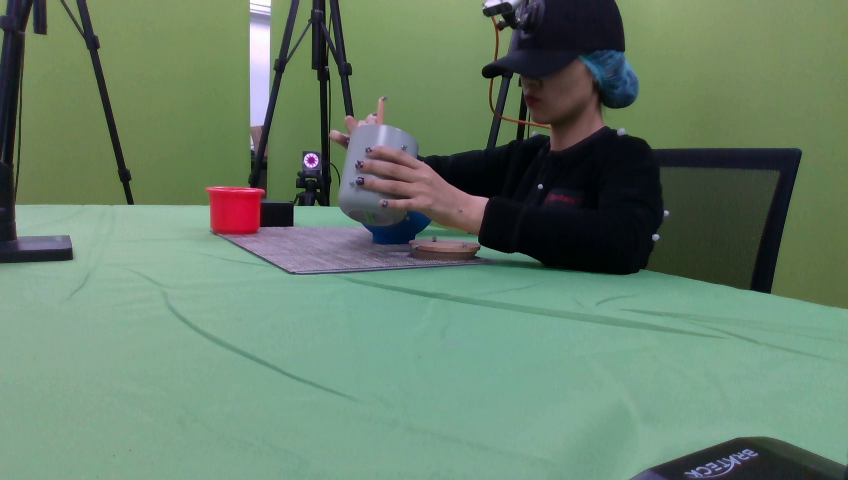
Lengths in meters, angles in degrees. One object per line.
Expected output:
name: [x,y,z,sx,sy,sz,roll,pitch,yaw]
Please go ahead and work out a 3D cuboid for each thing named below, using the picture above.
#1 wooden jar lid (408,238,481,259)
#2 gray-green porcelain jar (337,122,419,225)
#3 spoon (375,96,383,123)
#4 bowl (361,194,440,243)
wooden jar lid: [0.031,0.012,0.895,0.108,0.020,0.108,2,8,0]
gray-green porcelain jar: [-0.068,-0.093,0.893,0.106,0.126,0.106,8,-17,3]
spoon: [-0.075,-0.142,0.909,0.022,0.193,0.041,23,-35,-23]
bowl: [-0.050,-0.038,1.033,0.151,0.077,0.151,3,7,0]
